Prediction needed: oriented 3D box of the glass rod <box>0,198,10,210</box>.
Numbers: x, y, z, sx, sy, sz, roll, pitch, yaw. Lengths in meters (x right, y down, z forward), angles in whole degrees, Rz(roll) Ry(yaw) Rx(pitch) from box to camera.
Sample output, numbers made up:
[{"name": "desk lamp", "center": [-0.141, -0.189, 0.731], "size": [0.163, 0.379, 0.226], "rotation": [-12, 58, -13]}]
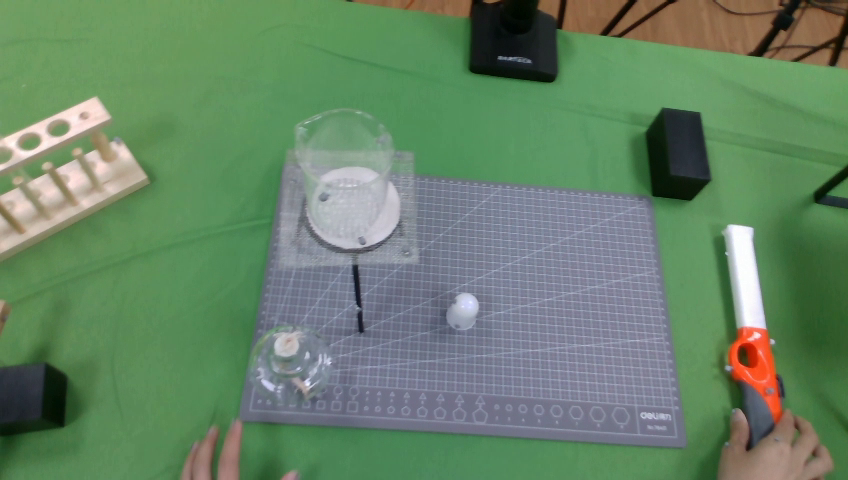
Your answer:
[{"name": "glass rod", "center": [-0.443, -0.086, 0.559], "size": [0.008, 0.201, 0.008], "rotation": [0, 58, 0]}]

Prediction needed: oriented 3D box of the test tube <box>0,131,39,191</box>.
[{"name": "test tube", "center": [-0.410, -0.093, 0.586], "size": [0.017, 0.151, 0.017], "rotation": [4, 59, -6]}]

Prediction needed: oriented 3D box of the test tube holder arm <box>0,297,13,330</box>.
[{"name": "test tube holder arm", "center": [-0.390, 0.093, 0.538], "size": [0.010, 0.015, 0.087], "rotation": [8, 63, -3]}]

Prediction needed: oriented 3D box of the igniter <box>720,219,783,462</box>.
[{"name": "igniter", "center": [0.360, 0.103, 0.671], "size": [0.057, 0.025, 0.274], "rotation": [8, 65, -3]}]

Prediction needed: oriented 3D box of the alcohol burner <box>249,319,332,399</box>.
[{"name": "alcohol burner", "center": [-0.124, 0.105, 0.561], "size": [0.078, 0.120, 0.077], "rotation": [4, 63, -7]}]

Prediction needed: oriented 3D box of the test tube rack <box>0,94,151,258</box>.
[{"name": "test tube rack", "center": [-0.419, -0.048, 0.618], "size": [0.242, 0.086, 0.066], "rotation": [-34, 72, -20]}]

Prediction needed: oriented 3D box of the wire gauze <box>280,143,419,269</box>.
[{"name": "wire gauze", "center": [-0.067, -0.034, 0.551], "size": [0.121, 0.011, 0.124], "rotation": [0, 68, -5]}]

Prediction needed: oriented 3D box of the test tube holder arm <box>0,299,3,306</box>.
[{"name": "test tube holder arm", "center": [-0.400, 0.132, 0.517], "size": [0.013, 0.015, 0.177], "rotation": [7, 63, -3]}]

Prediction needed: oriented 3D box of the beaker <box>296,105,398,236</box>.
[{"name": "beaker", "center": [-0.067, -0.054, 0.506], "size": [0.084, 0.101, 0.073], "rotation": [28, 65, 7]}]

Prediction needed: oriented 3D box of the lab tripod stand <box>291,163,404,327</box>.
[{"name": "lab tripod stand", "center": [-0.071, -0.001, 0.607], "size": [0.149, 0.132, 0.147], "rotation": [3, 65, -7]}]

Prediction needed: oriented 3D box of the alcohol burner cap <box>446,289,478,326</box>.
[{"name": "alcohol burner cap", "center": [0.042, 0.070, 0.638], "size": [0.034, 0.048, 0.033], "rotation": [2, 67, -3]}]
